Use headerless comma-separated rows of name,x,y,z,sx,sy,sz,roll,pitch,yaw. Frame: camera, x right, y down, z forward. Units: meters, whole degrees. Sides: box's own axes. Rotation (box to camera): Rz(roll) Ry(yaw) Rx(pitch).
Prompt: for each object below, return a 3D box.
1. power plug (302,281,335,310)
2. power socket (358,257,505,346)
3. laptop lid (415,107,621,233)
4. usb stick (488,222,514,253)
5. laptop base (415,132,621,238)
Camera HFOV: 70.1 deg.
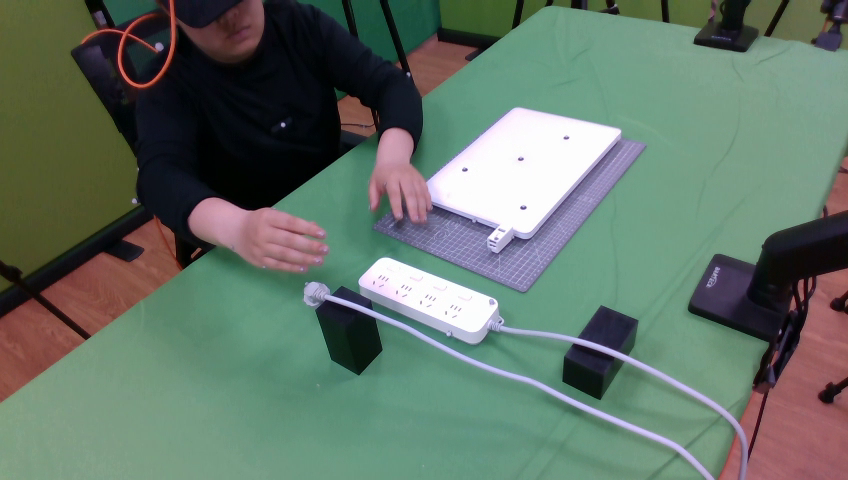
power plug,-0.133,0.081,0.783,0.035,0.053,0.072,-43,47,-5
power socket,0.004,0.083,0.862,0.225,0.033,0.072,20,49,28
laptop lid,0.175,-0.144,1.094,0.239,0.013,0.358,23,48,33
usb stick,0.124,-0.008,0.944,0.021,0.027,0.059,25,47,31
laptop base,0.179,-0.134,1.101,0.233,0.023,0.355,20,47,33
